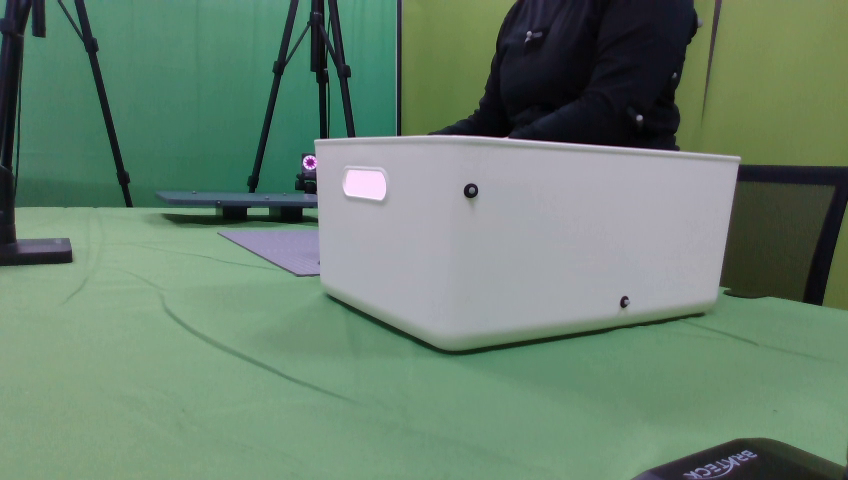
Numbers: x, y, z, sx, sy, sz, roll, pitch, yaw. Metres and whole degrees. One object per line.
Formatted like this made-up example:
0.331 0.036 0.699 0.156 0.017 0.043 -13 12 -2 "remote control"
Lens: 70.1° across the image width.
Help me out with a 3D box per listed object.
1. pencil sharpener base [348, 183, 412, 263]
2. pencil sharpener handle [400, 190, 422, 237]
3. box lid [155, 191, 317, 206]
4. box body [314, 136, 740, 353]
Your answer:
-0.059 -0.024 0.846 0.077 0.107 0.061 -1 7 -30 "pencil sharpener base"
-0.015 -0.038 0.872 0.031 0.067 0.036 -1 15 -30 "pencil sharpener handle"
-0.387 -0.091 1.340 0.373 0.015 0.262 -1 8 -30 "box lid"
0.098 -0.012 0.605 0.366 0.160 0.253 -2 8 -33 "box body"
